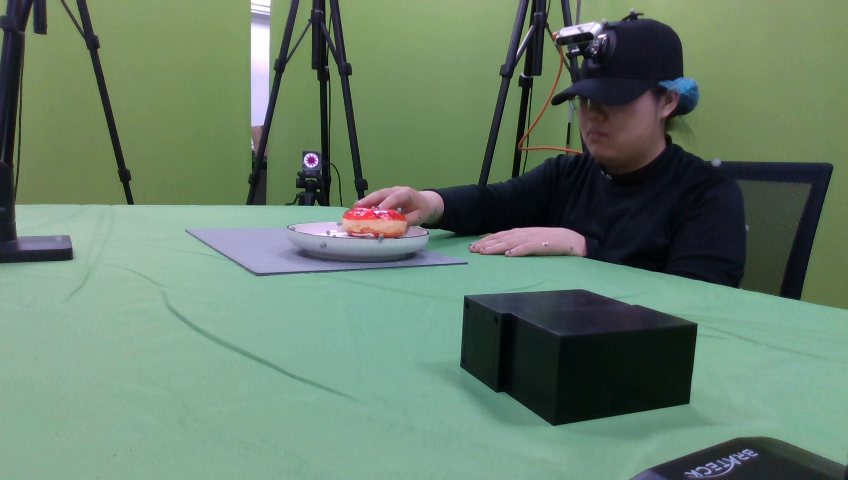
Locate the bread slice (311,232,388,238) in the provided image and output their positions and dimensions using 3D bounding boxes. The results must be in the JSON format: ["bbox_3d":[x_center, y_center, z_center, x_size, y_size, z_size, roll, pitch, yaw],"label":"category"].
[{"bbox_3d":[-0.101,0.002,0.885,0.135,0.018,0.106,-3,8,-38],"label":"bread slice"}]

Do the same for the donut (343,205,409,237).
[{"bbox_3d":[-0.071,-0.026,0.893,0.099,0.048,0.099,4,4,0],"label":"donut"}]

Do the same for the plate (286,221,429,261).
[{"bbox_3d":[-0.096,0.001,0.886,0.209,0.038,0.209,2,7,0],"label":"plate"}]
